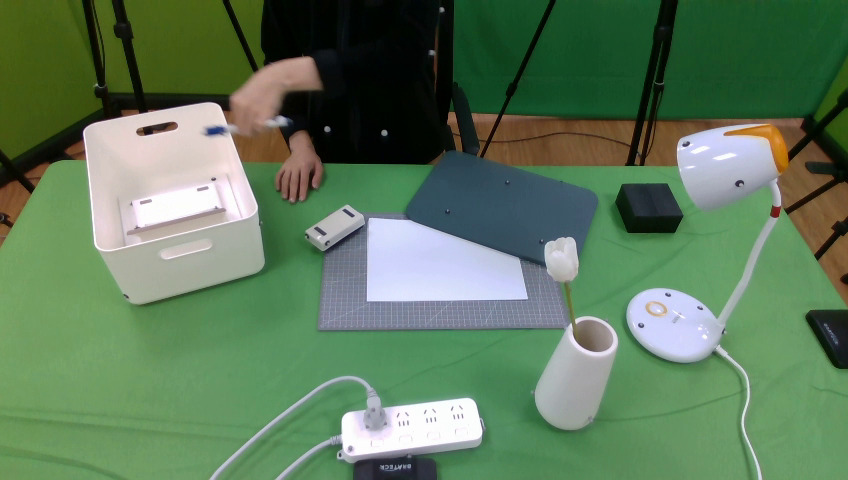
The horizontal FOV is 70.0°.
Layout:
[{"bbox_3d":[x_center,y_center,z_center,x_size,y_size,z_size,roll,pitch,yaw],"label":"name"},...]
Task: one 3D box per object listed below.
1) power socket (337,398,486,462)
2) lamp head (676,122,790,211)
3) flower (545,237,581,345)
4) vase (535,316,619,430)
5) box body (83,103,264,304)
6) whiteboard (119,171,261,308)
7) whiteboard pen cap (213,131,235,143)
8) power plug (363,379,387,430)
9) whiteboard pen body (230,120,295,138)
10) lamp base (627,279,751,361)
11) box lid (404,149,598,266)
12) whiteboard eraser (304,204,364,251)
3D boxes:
[{"bbox_3d":[-0.018,0.285,0.914,0.227,0.033,0.071,-4,46,-8],"label":"power socket"},{"bbox_3d":[0.423,-0.104,0.819,0.122,0.113,0.112,-13,33,40],"label":"lamp head"},{"bbox_3d":[0.213,0.137,0.846,0.038,0.364,0.044,22,55,40],"label":"flower"},{"bbox_3d":[0.229,0.200,0.900,0.098,0.201,0.097,3,46,-3],"label":"vase"},{"bbox_3d":[-0.465,-0.076,1.137,0.254,0.161,0.361,-16,49,-19],"label":"box body"},{"bbox_3d":[-0.464,-0.060,1.137,0.217,0.144,0.303,-19,51,-17],"label":"whiteboard"},{"bbox_3d":[-0.348,-0.180,1.055,0.033,0.018,0.018,-17,49,-30],"label":"whiteboard pen cap"},{"bbox_3d":[-0.071,0.252,0.911,0.035,0.053,0.072,3,40,0],"label":"power plug"},{"bbox_3d":[-0.298,-0.196,1.083,0.141,0.017,0.017,-17,50,-28],"label":"whiteboard pen body"},{"bbox_3d":[0.460,0.100,1.027,0.178,0.181,0.160,27,51,17],"label":"lamp base"},{"bbox_3d":[0.171,-0.073,1.290,0.371,0.015,0.262,19,47,14],"label":"box lid"},{"bbox_3d":[-0.175,-0.022,1.188,0.055,0.042,0.112,36,54,26],"label":"whiteboard eraser"}]
